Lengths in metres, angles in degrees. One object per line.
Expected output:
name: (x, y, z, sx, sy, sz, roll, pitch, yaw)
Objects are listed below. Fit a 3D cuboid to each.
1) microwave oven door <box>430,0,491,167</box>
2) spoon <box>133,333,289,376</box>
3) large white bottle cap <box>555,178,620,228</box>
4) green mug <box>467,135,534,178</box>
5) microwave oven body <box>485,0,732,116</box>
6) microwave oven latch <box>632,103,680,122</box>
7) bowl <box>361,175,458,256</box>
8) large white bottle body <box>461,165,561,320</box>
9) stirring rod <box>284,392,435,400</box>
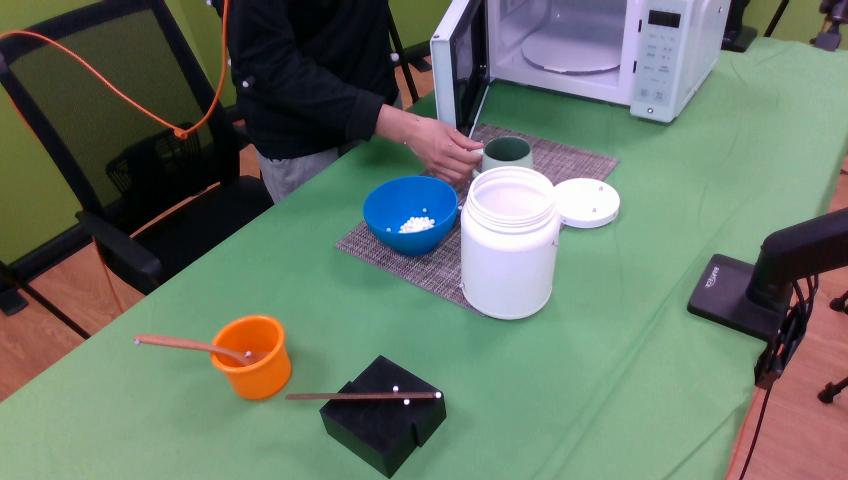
microwave oven door: (0.079, -0.340, 1.160, 0.039, 0.245, 0.355, 5, 42, 14)
spoon: (-0.257, 0.137, 0.747, 0.021, 0.195, 0.041, -46, 40, 23)
large white bottle cap: (0.265, -0.063, 1.001, 0.115, 0.018, 0.114, -3, 42, 3)
green mug: (0.126, -0.114, 1.014, 0.124, 0.105, 0.093, 21, 49, 30)
microwave oven body: (0.377, -0.463, 1.267, 0.438, 0.261, 0.327, 21, 49, 30)
microwave oven latch: (0.443, -0.249, 1.157, 0.078, 0.029, 0.030, 20, 48, 29)
bowl: (-0.019, -0.028, 0.955, 0.151, 0.077, 0.150, -4, 40, 4)
large white bottle body: (0.115, 0.004, 0.816, 0.130, 0.185, 0.130, -2, 43, 2)
stirring rod: (-0.075, 0.180, 0.698, 0.176, 0.006, 0.014, -2, 6, 7)
